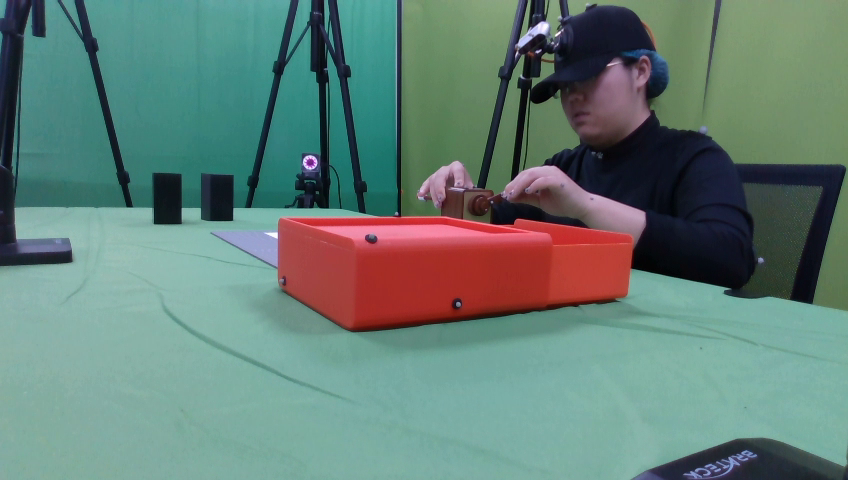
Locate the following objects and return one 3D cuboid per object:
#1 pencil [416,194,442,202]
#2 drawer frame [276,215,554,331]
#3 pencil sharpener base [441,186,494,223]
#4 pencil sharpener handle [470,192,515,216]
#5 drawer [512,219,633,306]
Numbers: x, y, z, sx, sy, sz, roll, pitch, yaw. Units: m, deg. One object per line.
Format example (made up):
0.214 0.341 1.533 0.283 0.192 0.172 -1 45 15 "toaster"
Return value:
0.036 -0.070 1.057 0.012 0.012 0.193 -1 8 -30 "pencil"
-0.015 0.022 0.610 0.215 0.082 0.200 -2 9 -32 "drawer frame"
0.070 -0.033 0.988 0.061 0.107 0.076 -1 9 -28 "pencil sharpener base"
0.108 -0.059 0.945 0.068 0.036 0.030 -26 20 -22 "pencil sharpener handle"
0.085 0.021 0.674 0.213 0.073 0.193 -2 9 -32 "drawer"
